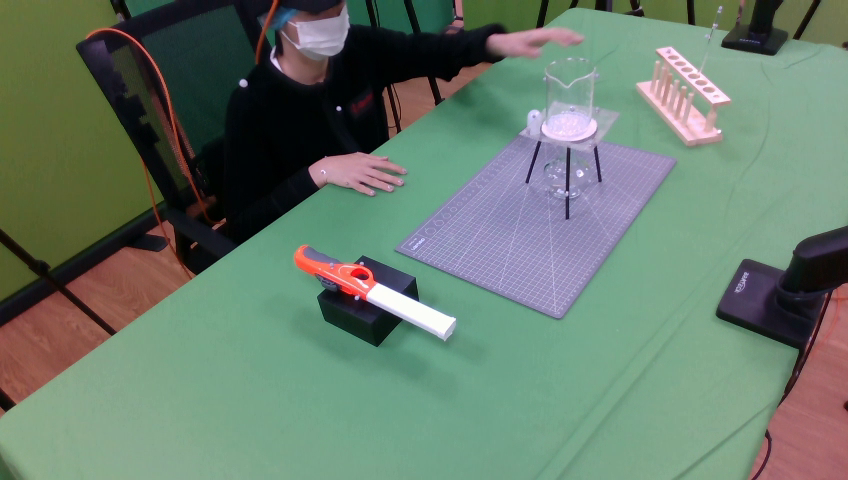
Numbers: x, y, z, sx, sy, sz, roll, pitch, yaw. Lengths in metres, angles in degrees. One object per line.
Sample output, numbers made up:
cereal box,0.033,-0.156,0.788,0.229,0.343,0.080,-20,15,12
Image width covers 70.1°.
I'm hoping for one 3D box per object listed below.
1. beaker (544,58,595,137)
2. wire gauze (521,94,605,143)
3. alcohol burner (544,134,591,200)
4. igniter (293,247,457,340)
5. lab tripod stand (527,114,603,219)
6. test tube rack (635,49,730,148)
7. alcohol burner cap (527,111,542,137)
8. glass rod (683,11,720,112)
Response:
beaker,0.222,-0.214,0.926,0.074,0.101,0.084,3,42,16
wire gauze,0.219,-0.190,0.949,0.121,0.011,0.125,7,46,14
alcohol burner,0.241,-0.127,1.014,0.078,0.119,0.077,-5,42,5
igniter,-0.077,0.068,0.830,0.274,0.025,0.057,22,48,27
lab tripod stand,0.234,-0.129,1.002,0.148,0.132,0.147,-6,40,6
test tube rack,0.497,-0.283,1.184,0.067,0.085,0.240,-10,40,-2
alcohol burner cap,0.221,-0.233,1.200,0.034,0.048,0.033,-7,41,6
glass rod,0.518,-0.329,1.133,0.008,0.200,0.008,1,42,-1
